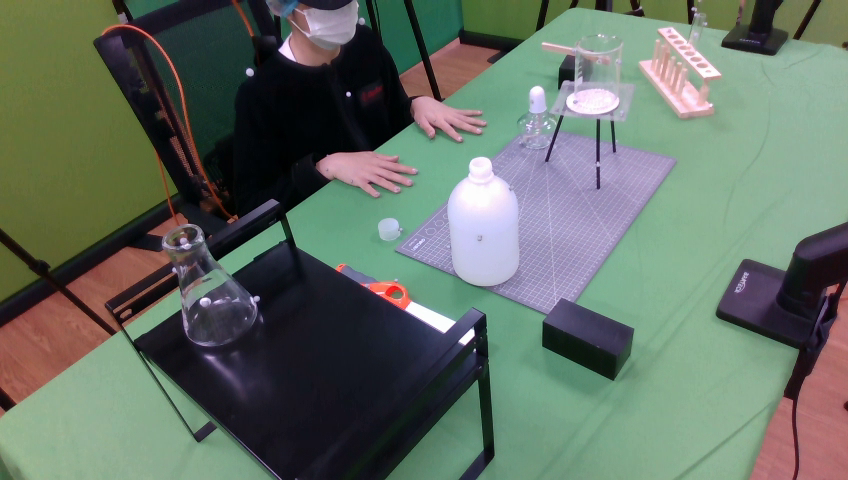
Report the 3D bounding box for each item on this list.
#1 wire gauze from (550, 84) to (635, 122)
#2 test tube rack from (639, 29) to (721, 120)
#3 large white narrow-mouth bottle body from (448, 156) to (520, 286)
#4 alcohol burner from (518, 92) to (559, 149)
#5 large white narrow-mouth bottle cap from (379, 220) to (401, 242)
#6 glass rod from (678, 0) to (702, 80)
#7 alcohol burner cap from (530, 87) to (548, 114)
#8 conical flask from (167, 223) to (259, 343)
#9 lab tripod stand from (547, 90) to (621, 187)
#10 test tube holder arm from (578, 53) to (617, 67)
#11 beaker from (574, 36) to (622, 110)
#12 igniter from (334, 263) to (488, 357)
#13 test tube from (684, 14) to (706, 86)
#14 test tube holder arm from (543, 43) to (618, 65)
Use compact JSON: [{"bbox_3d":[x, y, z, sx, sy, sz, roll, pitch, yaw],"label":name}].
[{"bbox_3d":[0.285,-0.234,1.021,0.124,0.011,0.121,8,41,23],"label":"wire gauze"},{"bbox_3d":[0.527,-0.351,1.262,0.067,0.085,0.241,-8,40,1],"label":"test tube rack"},{"bbox_3d":[0.086,-0.032,0.869,0.102,0.195,0.101,-4,40,4],"label":"large white narrow-mouth bottle body"},{"bbox_3d":[0.218,-0.234,1.149,0.078,0.119,0.077,-5,43,5],"label":"alcohol burner"},{"bbox_3d":[-0.057,-0.015,1.011,0.038,0.024,0.037,-4,40,4],"label":"large white narrow-mouth bottle cap"},{"bbox_3d":[0.543,-0.417,1.233,0.008,0.200,0.008,1,39,0],"label":"glass rod"},{"bbox_3d":[0.212,-0.262,1.126,0.034,0.048,0.033,-9,36,7],"label":"alcohol burner cap"},{"bbox_3d":[-0.220,0.041,0.613,0.075,0.122,0.075,-5,40,4],"label":"conical flask"},{"bbox_3d":[0.289,-0.184,1.062,0.148,0.132,0.147,-6,41,6],"label":"lab tripod stand"},{"bbox_3d":[0.376,-0.393,1.314,0.087,0.015,0.010,25,50,32],"label":"test tube holder arm"},{"bbox_3d":[0.285,-0.273,0.990,0.073,0.101,0.084,15,46,27],"label":"beaker"},{"bbox_3d":[-0.030,0.095,0.872,0.274,0.025,0.057,23,60,31],"label":"igniter"},{"bbox_3d":[0.540,-0.378,1.215,0.017,0.151,0.017,-2,44,3],"label":"test tube"},{"bbox_3d":[0.344,-0.413,1.341,0.177,0.015,0.013,25,49,31],"label":"test tube holder arm"}]
